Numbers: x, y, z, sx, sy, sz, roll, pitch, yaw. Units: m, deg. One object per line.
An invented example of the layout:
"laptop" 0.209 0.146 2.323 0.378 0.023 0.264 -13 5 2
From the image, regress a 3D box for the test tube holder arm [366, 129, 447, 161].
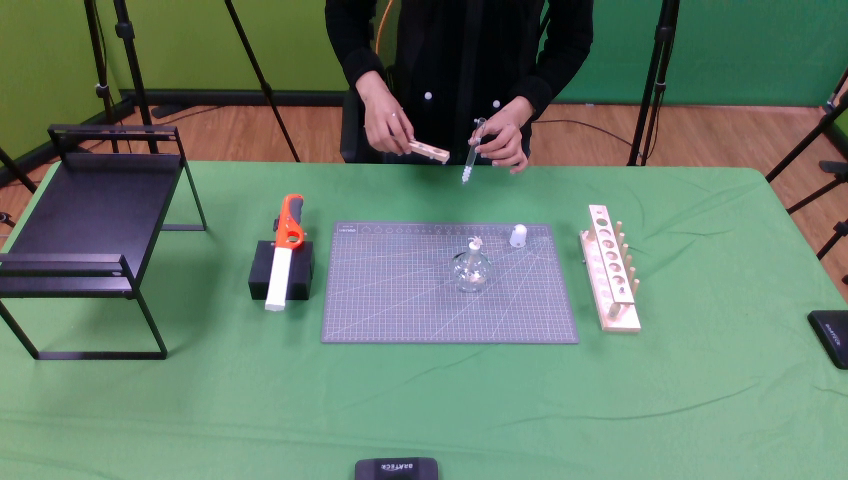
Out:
"test tube holder arm" -0.035 -0.184 1.162 0.178 0.015 0.013 20 46 21

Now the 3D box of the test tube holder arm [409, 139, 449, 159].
"test tube holder arm" 0.007 -0.172 1.150 0.087 0.015 0.010 21 46 21

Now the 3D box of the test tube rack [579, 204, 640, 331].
"test tube rack" 0.353 0.047 1.137 0.067 0.085 0.241 2 46 -2

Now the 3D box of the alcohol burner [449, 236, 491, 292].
"alcohol burner" 0.086 0.038 1.101 0.078 0.119 0.077 3 44 -2

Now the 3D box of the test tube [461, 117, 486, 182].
"test tube" 0.092 -0.167 1.142 0.017 0.151 0.017 7 46 -7

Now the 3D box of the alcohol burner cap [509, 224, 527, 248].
"alcohol burner cap" 0.189 -0.011 1.206 0.034 0.048 0.033 1 46 -1

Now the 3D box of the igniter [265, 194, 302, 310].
"igniter" -0.253 0.011 1.099 0.057 0.025 0.274 9 46 -12
